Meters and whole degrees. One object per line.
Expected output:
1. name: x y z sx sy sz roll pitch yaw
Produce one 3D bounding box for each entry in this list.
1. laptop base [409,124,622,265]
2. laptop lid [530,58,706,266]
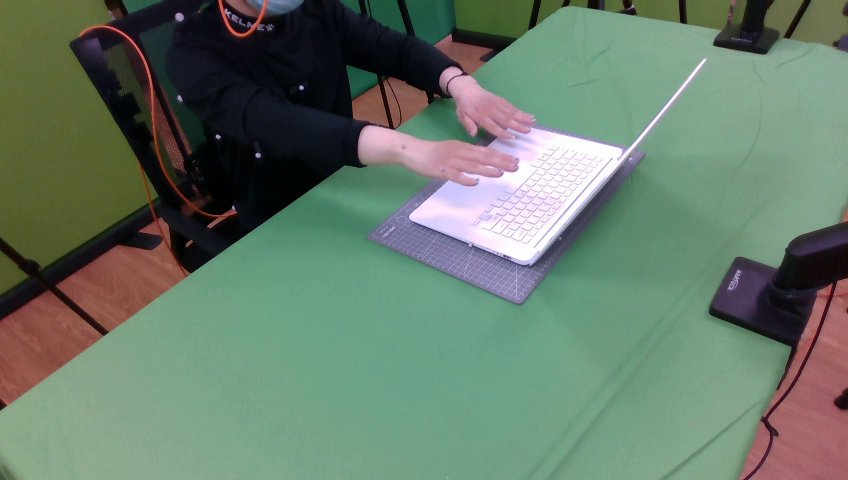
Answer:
1. laptop base: 0.168 -0.095 1.057 0.233 0.023 0.355 20 47 32
2. laptop lid: 0.293 -0.118 0.905 0.013 0.241 0.357 40 53 9
